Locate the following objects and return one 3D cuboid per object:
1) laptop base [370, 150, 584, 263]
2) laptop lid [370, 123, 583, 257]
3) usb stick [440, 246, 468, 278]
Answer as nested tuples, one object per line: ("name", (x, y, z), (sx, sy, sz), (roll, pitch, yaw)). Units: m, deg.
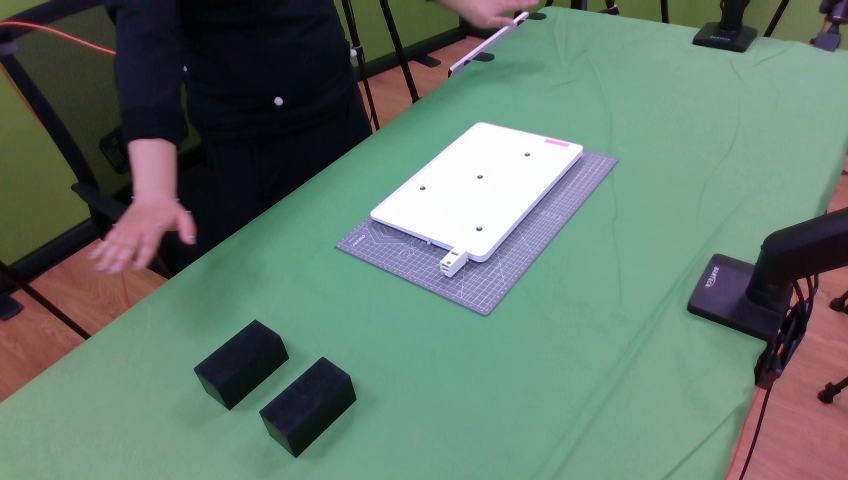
("laptop base", (0.102, -0.096, 1.070), (0.233, 0.023, 0.355), (19, 47, 32))
("laptop lid", (0.099, -0.106, 1.064), (0.240, 0.013, 0.358), (22, 48, 33))
("usb stick", (0.050, 0.029, 0.911), (0.021, 0.027, 0.059), (24, 47, 32))
